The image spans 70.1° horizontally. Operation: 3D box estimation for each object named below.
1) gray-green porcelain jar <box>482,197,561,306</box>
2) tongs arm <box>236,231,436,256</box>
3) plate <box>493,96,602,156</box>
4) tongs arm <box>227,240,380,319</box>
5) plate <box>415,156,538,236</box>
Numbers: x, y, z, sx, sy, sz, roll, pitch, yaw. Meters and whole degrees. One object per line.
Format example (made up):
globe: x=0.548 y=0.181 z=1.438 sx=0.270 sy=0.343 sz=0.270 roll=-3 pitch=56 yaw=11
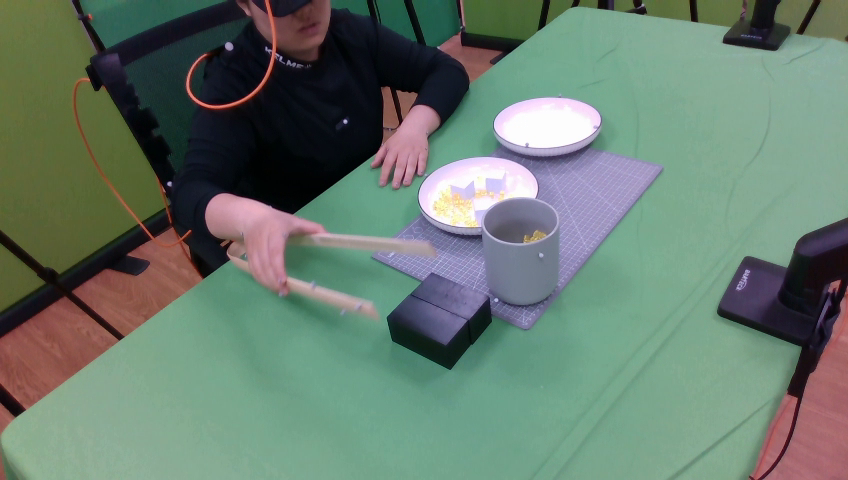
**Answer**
gray-green porcelain jar: x=0.138 y=0.020 z=0.846 sx=0.106 sy=0.127 sz=0.105 roll=-5 pitch=40 yaw=5
tongs arm: x=-0.141 y=0.006 z=0.874 sx=0.384 sy=0.028 sz=0.028 roll=2 pitch=46 yaw=38
plate: x=0.238 y=-0.218 z=1.180 sx=0.209 sy=0.038 sz=0.208 roll=-4 pitch=39 yaw=4
tongs arm: x=-0.178 y=0.046 z=0.839 sx=0.381 sy=0.027 sz=0.051 roll=9 pitch=47 yaw=44
plate: x=0.090 y=-0.072 z=1.034 sx=0.207 sy=0.039 sz=0.206 roll=-5 pitch=40 yaw=5
